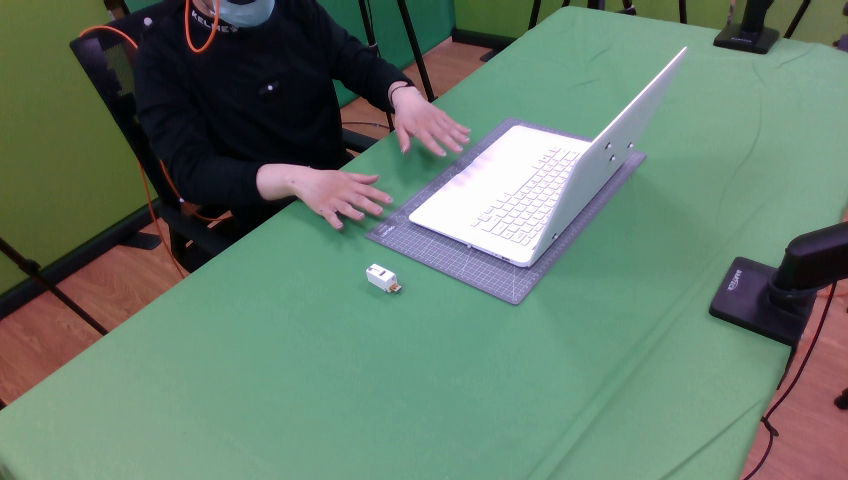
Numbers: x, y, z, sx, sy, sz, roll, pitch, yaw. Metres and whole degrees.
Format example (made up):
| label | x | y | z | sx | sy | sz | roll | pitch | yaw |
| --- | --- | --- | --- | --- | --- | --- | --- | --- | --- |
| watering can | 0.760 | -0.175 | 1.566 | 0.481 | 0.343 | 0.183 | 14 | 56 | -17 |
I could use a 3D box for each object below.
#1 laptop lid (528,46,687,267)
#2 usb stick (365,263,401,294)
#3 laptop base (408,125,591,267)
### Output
| label | x | y | z | sx | sy | sz | roll | pitch | yaw |
| --- | --- | --- | --- | --- | --- | --- | --- | --- | --- |
| laptop lid | 0.277 | -0.126 | 0.903 | 0.013 | 0.242 | 0.358 | 35 | 53 | 17 |
| usb stick | -0.059 | 0.060 | 0.903 | 0.058 | 0.027 | 0.021 | 28 | 51 | 30 |
| laptop base | 0.168 | -0.092 | 1.053 | 0.233 | 0.023 | 0.355 | 21 | 47 | 33 |
